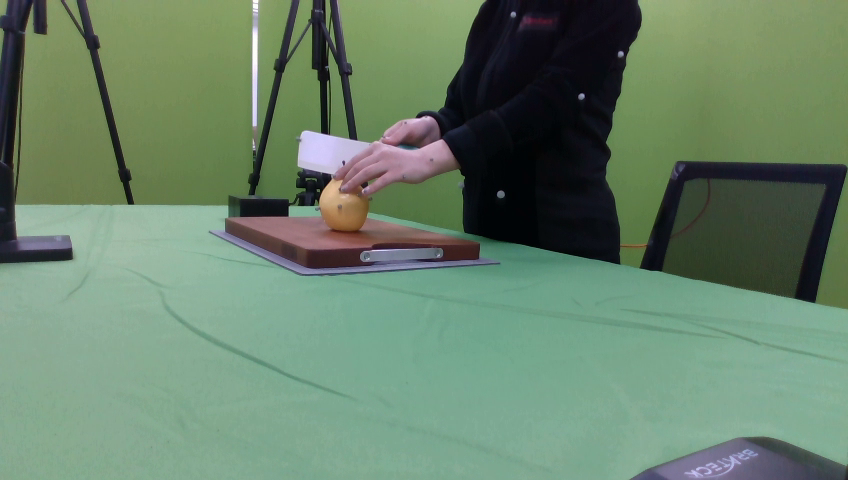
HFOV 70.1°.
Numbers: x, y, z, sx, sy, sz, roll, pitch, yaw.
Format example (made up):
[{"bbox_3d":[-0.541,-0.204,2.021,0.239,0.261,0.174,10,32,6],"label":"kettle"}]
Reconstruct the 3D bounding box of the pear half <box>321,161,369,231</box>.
[{"bbox_3d":[-0.117,-0.067,0.932,0.055,0.110,0.077,6,14,42],"label":"pear half"}]

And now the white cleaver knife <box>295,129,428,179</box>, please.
[{"bbox_3d":[-0.094,-0.132,0.982,0.021,0.066,0.288,8,6,42],"label":"white cleaver knife"}]

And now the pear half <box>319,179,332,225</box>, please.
[{"bbox_3d":[-0.142,-0.061,0.957,0.031,0.088,0.071,8,16,40],"label":"pear half"}]
